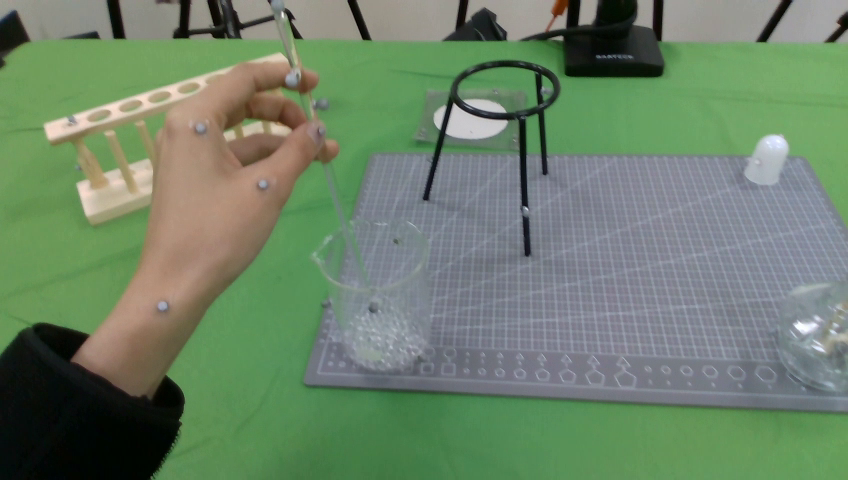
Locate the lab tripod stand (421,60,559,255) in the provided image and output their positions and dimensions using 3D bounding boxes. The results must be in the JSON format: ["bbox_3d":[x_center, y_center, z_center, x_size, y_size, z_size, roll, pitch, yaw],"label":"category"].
[{"bbox_3d":[0.063,-0.079,0.537,0.148,0.133,0.147,-3,45,3],"label":"lab tripod stand"}]

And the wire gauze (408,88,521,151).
[{"bbox_3d":[0.050,-0.143,0.704,0.125,0.011,0.120,4,43,10],"label":"wire gauze"}]

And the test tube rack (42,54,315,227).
[{"bbox_3d":[-0.245,-0.108,0.630,0.242,0.086,0.066,-25,47,-20],"label":"test tube rack"}]

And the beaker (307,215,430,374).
[{"bbox_3d":[-0.035,0.044,0.441,0.084,0.101,0.073,-1,43,5],"label":"beaker"}]

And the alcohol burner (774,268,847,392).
[{"bbox_3d":[0.283,0.047,0.403,0.078,0.120,0.077,-2,41,2],"label":"alcohol burner"}]

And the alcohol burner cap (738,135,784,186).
[{"bbox_3d":[0.327,-0.079,0.585,0.034,0.048,0.033,-2,43,2],"label":"alcohol burner cap"}]

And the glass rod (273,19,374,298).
[{"bbox_3d":[-0.053,-0.032,0.355,0.008,0.202,0.008,-6,43,6],"label":"glass rod"}]
